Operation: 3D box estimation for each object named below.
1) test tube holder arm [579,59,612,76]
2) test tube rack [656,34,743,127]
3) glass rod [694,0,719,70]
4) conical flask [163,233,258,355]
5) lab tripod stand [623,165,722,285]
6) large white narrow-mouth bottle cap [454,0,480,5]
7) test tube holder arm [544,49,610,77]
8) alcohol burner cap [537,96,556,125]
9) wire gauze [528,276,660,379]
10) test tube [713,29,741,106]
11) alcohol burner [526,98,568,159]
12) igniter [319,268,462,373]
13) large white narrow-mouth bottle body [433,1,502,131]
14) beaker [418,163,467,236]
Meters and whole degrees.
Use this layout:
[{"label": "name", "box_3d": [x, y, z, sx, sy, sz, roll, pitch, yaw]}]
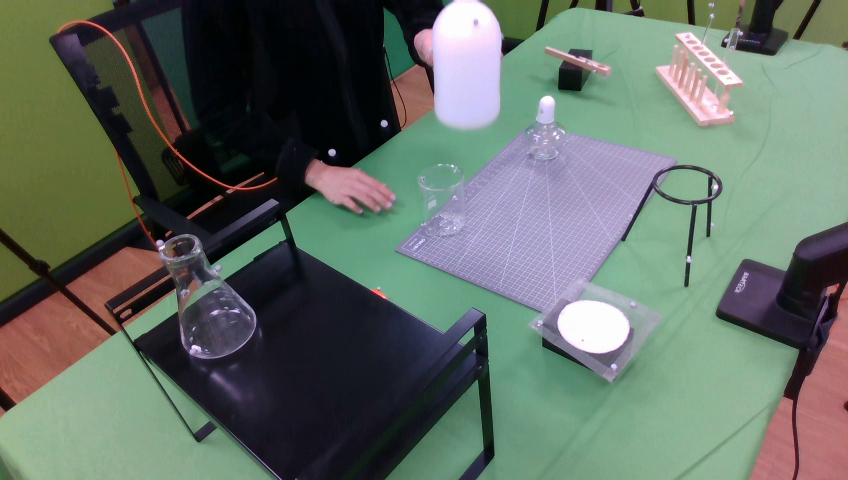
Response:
[{"label": "test tube holder arm", "box_3d": [0.362, -0.368, 1.289, 0.010, 0.015, 0.087, -25, 43, -32]}, {"label": "test tube rack", "box_3d": [0.553, -0.330, 1.233, 0.067, 0.085, 0.241, -7, 40, 2]}, {"label": "glass rod", "box_3d": [0.560, -0.402, 1.214, 0.008, 0.200, 0.008, -1, 49, 2]}, {"label": "conical flask", "box_3d": [-0.216, 0.051, 0.601, 0.075, 0.122, 0.075, -4, 40, 4]}, {"label": "lab tripod stand", "box_3d": [0.365, -0.030, 0.874, 0.148, 0.132, 0.147, -6, 41, 6]}, {"label": "large white narrow-mouth bottle cap", "box_3d": [0.058, -0.331, 0.810, 0.038, 0.024, 0.037, -1, 35, 2]}, {"label": "test tube holder arm", "box_3d": [0.330, -0.386, 1.314, 0.013, 0.015, 0.177, -25, 43, -32]}, {"label": "alcohol burner cap", "box_3d": [0.223, -0.237, 1.095, 0.034, 0.048, 0.033, 0, 42, 1]}, {"label": "wire gauze", "box_3d": [0.213, 0.103, 0.763, 0.124, 0.011, 0.122, 30, 52, 35]}, {"label": "test tube", "box_3d": [0.573, -0.324, 1.146, 0.017, 0.151, 0.017, -3, 39, 3]}, {"label": "alcohol burner", "box_3d": [0.228, -0.210, 1.118, 0.078, 0.119, 0.077, -5, 43, 5]}, {"label": "igniter", "box_3d": [-0.059, 0.107, 0.862, 0.274, 0.025, 0.057, 28, 62, 34]}, {"label": "large white narrow-mouth bottle body", "box_3d": [0.062, -0.262, 0.860, 0.102, 0.195, 0.101, -2, 35, 2]}, {"label": "beaker", "box_3d": [0.035, -0.065, 0.990, 0.073, 0.101, 0.084, 24, 49, 32]}]
